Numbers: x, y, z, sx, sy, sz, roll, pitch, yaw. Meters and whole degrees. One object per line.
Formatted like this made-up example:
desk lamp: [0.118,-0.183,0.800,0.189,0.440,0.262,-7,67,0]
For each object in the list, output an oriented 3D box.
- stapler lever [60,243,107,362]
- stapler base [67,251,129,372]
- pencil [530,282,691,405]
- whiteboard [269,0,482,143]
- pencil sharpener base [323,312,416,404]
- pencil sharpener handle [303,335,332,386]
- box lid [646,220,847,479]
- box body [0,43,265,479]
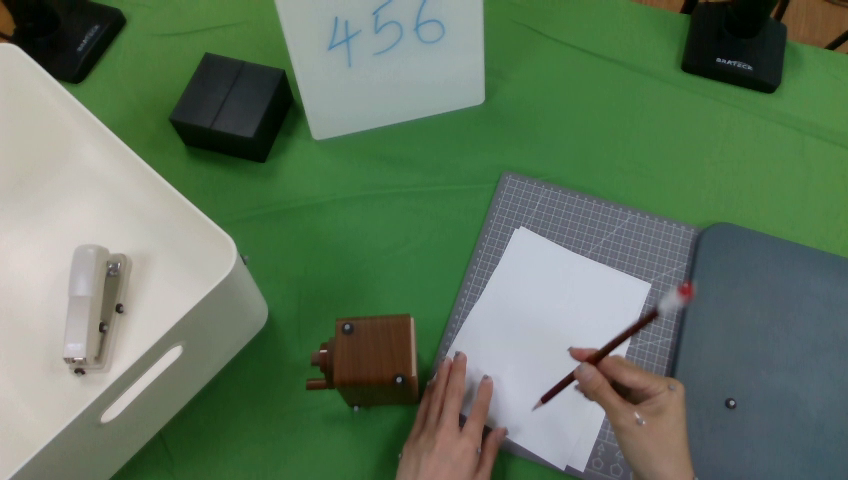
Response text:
stapler lever: [-0.336,0.059,0.596,0.027,0.040,0.117,-2,68,1]
stapler base: [-0.337,0.068,0.620,0.041,0.024,0.129,-2,67,1]
pencil: [0.136,0.089,0.475,0.012,0.195,0.012,17,46,-19]
whiteboard: [-0.063,-0.294,0.674,0.217,0.308,0.142,-13,46,-6]
pencil sharpener base: [-0.048,0.112,0.562,0.077,0.108,0.061,-3,65,-1]
pencil sharpener handle: [-0.099,0.113,0.547,0.030,0.068,0.035,-3,48,-1]
box lid: [0.369,0.165,0.592,0.263,0.015,0.369,18,67,7]
box body: [-0.361,0.024,0.570,0.362,0.161,0.253,38,71,16]
